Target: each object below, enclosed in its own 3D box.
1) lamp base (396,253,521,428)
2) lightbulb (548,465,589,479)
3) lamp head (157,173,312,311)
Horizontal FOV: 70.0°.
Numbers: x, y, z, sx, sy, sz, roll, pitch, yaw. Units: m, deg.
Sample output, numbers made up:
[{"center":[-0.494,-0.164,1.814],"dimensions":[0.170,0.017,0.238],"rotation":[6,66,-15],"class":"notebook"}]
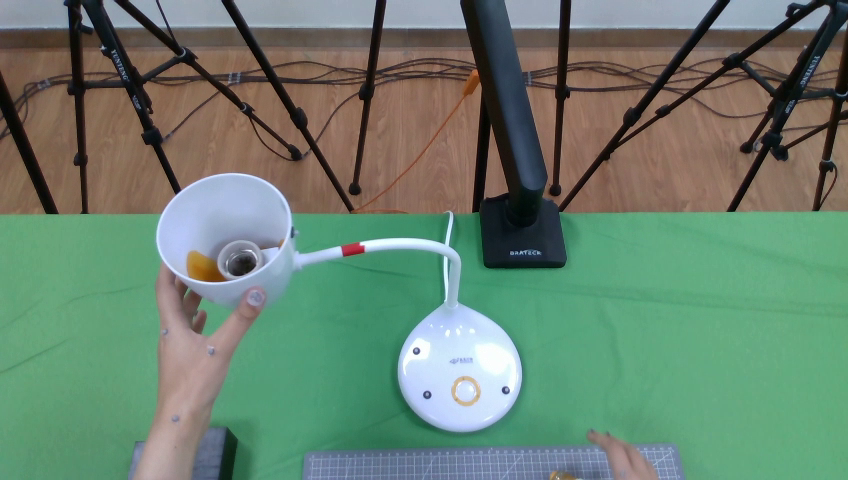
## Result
[{"center":[0.040,0.110,0.721],"dimensions":[0.161,0.182,0.177],"rotation":[-13,55,-9],"class":"lamp base"},{"center":[0.186,0.291,0.681],"dimensions":[0.106,0.060,0.059],"rotation":[30,59,35],"class":"lightbulb"},{"center":[-0.167,0.014,0.563],"dimensions":[0.112,0.124,0.111],"rotation":[-2,62,4],"class":"lamp head"}]
